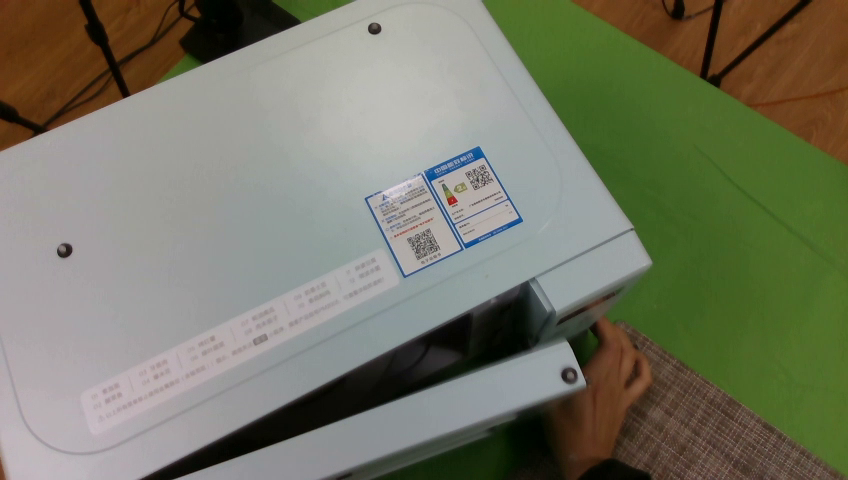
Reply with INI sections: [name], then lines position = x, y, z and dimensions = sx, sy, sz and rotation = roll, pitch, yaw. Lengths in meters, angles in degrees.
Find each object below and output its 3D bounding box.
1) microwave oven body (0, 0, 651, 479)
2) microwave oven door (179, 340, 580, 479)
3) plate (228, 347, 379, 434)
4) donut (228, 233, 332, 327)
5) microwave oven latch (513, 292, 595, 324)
[microwave oven body]
position = -0.103, 0.007, 0.545
dimensions = 0.442, 0.262, 0.323
rotation = -27, 73, -6
[microwave oven door]
position = -0.065, 0.167, 0.484
dimensions = 0.356, 0.245, 0.039
rotation = -19, 70, -4
[plate]
position = -0.137, 0.077, 0.568
dimensions = 0.209, 0.038, 0.207
rotation = -2, 65, 6
[donut]
position = -0.138, 0.038, 0.584
dimensions = 0.099, 0.048, 0.098
rotation = 4, 58, -6
[microwave oven latch]
position = 0.132, 0.067, 0.618
dimensions = 0.079, 0.029, 0.030
rotation = 9, 73, 5
